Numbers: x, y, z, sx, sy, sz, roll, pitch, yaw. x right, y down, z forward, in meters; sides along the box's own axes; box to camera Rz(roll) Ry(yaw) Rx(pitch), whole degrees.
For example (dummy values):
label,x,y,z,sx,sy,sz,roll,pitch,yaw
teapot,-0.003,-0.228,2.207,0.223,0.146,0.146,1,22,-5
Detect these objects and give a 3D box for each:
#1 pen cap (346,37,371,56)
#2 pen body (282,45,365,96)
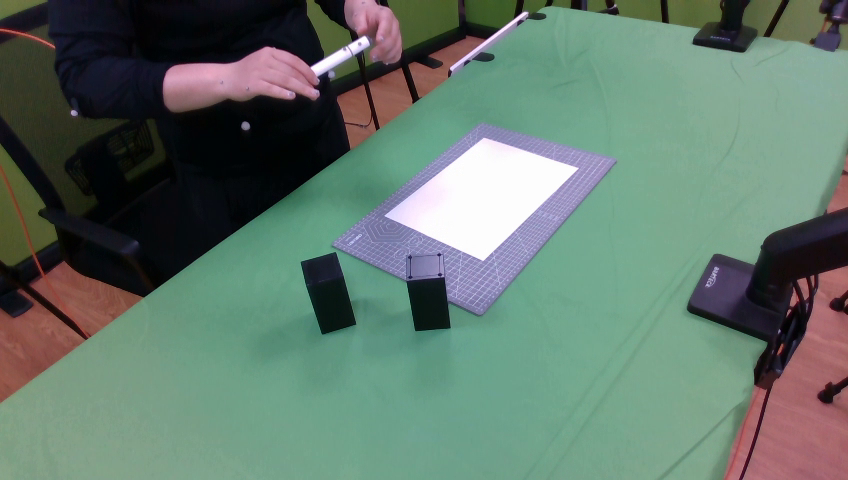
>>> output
label,x,y,z,sx,sy,sz,roll,pitch,yaw
pen cap,-0.100,-0.296,0.928,0.038,0.017,0.017,-39,48,-14
pen body,-0.149,-0.258,0.912,0.144,0.017,0.016,-34,45,-10
